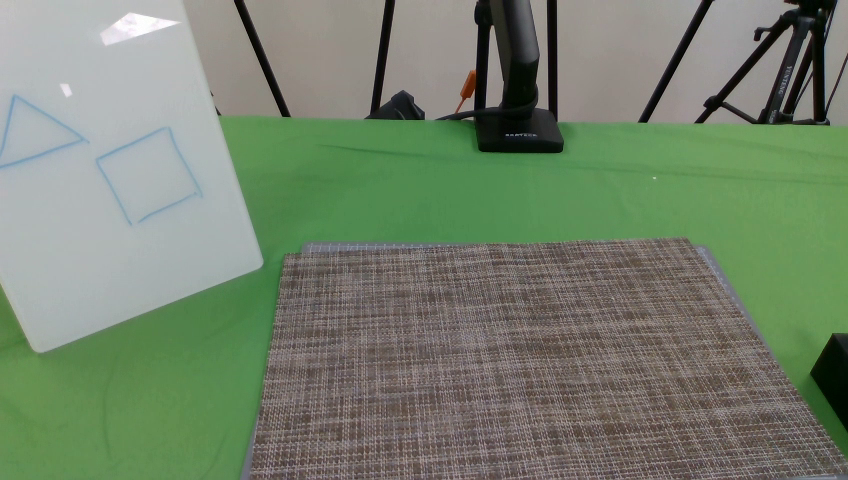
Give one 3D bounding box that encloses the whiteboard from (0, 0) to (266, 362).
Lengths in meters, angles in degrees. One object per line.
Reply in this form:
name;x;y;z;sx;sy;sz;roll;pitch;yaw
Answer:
whiteboard;-0.316;-0.084;0.581;0.217;0.307;0.142;-23;24;-28
